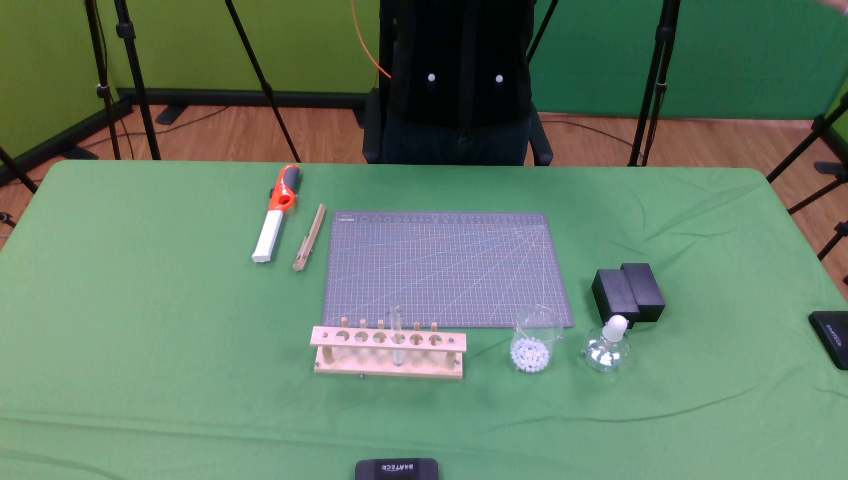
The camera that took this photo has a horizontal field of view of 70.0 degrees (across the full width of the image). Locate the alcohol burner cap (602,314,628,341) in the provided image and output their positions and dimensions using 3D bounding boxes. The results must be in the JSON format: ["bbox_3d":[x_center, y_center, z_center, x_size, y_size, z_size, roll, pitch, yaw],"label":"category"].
[{"bbox_3d":[0.309,0.138,0.974,0.034,0.048,0.033,2,52,-2],"label":"alcohol burner cap"}]

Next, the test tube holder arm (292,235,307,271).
[{"bbox_3d":[-0.234,0.024,1.163,0.010,0.015,0.087,-16,39,27],"label":"test tube holder arm"}]

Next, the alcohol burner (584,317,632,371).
[{"bbox_3d":[0.307,0.163,0.999,0.078,0.120,0.077,1,48,-1],"label":"alcohol burner"}]

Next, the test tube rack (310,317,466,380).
[{"bbox_3d":[-0.056,0.171,0.987,0.242,0.085,0.066,3,45,-1],"label":"test tube rack"}]

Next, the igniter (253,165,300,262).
[{"bbox_3d":[-0.298,-0.063,1.234,0.057,0.025,0.275,-2,45,7],"label":"igniter"}]

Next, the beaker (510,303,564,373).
[{"bbox_3d":[0.182,0.164,1.000,0.074,0.101,0.083,2,46,-1],"label":"beaker"}]

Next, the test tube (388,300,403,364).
[{"bbox_3d":[-0.044,0.146,0.942,0.017,0.151,0.017,-1,44,1],"label":"test tube"}]

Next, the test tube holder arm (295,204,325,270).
[{"bbox_3d":[-0.222,-0.009,1.192,0.013,0.015,0.177,-16,39,26],"label":"test tube holder arm"}]
